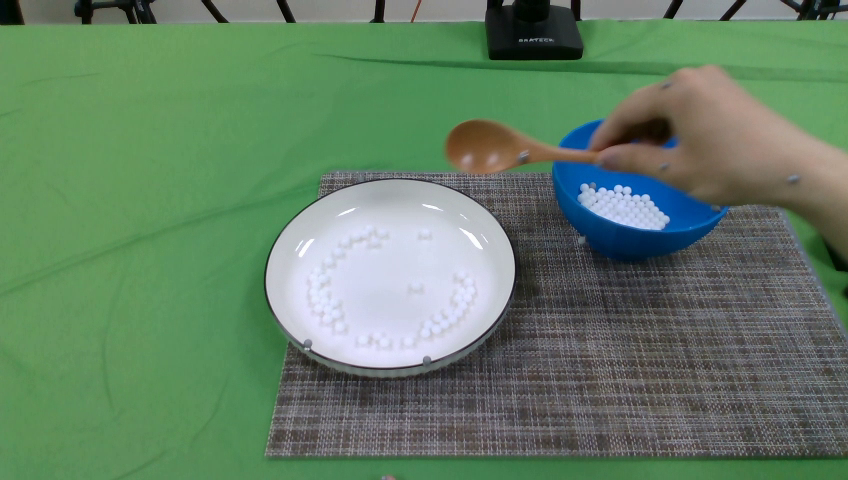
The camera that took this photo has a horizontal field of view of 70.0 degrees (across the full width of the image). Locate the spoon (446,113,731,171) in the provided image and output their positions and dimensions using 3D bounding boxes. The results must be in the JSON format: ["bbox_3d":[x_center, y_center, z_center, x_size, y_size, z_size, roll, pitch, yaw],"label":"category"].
[{"bbox_3d":[0.111,-0.062,0.425,0.193,0.042,0.021,8,15,14],"label":"spoon"}]

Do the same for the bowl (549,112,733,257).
[{"bbox_3d":[0.182,-0.038,0.540,0.151,0.077,0.150,0,48,0],"label":"bowl"}]

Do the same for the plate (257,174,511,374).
[{"bbox_3d":[-0.032,0.026,0.513,0.208,0.039,0.205,0,48,0],"label":"plate"}]
